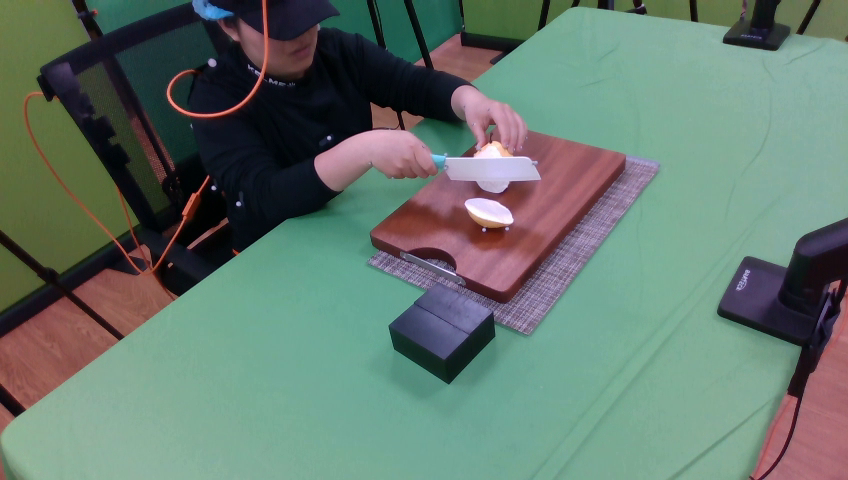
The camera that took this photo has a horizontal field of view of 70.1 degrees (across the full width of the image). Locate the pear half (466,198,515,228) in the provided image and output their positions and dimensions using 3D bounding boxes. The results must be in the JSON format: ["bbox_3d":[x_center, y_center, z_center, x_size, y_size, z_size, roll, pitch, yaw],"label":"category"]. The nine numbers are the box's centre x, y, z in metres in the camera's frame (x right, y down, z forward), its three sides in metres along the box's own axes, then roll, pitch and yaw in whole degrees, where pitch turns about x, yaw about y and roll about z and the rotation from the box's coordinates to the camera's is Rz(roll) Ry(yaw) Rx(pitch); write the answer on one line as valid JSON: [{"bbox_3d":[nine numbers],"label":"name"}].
[{"bbox_3d":[0.105,-0.037,0.957,0.071,0.031,0.087,-22,47,-35],"label":"pear half"}]

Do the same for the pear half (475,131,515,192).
[{"bbox_3d":[0.123,-0.140,1.017,0.076,0.110,0.056,14,45,20],"label":"pear half"}]

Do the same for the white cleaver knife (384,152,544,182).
[{"bbox_3d":[0.054,-0.115,0.985,0.284,0.066,0.021,7,57,31],"label":"white cleaver knife"}]
